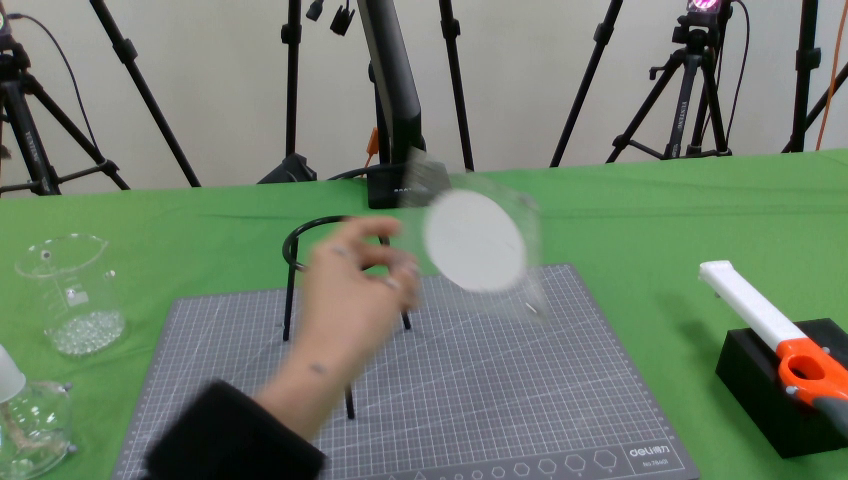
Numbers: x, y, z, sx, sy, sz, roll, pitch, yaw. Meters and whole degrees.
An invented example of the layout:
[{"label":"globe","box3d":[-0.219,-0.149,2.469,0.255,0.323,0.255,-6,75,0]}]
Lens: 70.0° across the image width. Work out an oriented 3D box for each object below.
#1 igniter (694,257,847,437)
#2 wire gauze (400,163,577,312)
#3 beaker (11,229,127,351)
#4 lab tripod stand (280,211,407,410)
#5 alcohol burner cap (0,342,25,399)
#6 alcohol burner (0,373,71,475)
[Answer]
[{"label":"igniter","box3d":[0.303,0.091,0.494,0.057,0.025,0.274,-5,30,-5]},{"label":"wire gauze","box3d":[0.049,-0.004,0.432,0.126,0.011,0.120,2,58,-36]},{"label":"beaker","box3d":[-0.335,0.049,0.588,0.073,0.101,0.084,26,40,34]},{"label":"lab tripod stand","box3d":[-0.073,0.054,0.540,0.148,0.132,0.147,1,33,-1]},{"label":"alcohol burner cap","box3d":[-0.319,0.091,0.442,0.034,0.048,0.033,1,37,0]},{"label":"alcohol burner","box3d":[-0.317,0.121,0.461,0.078,0.120,0.077,1,31,0]}]
